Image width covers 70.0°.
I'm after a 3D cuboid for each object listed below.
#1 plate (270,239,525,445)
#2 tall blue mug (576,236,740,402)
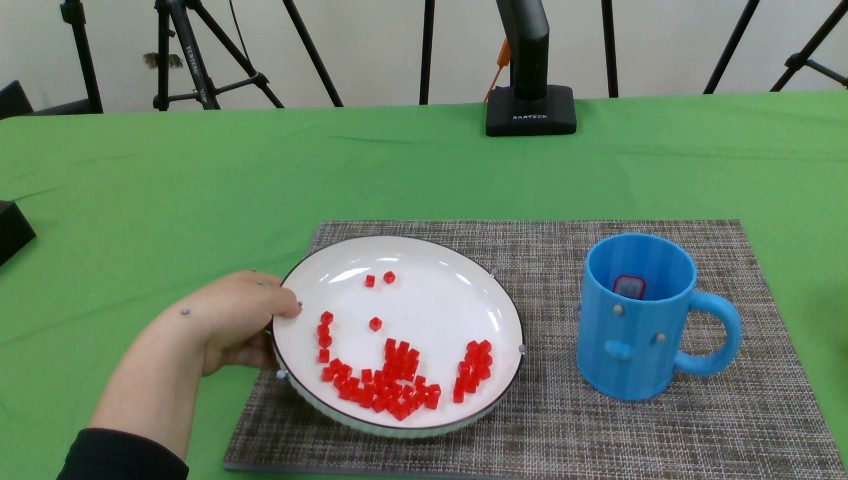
[{"bbox_3d":[-0.021,0.080,0.502,0.208,0.039,0.205,8,40,-6],"label":"plate"},{"bbox_3d":[0.175,0.062,0.467,0.107,0.109,0.077,-4,38,4],"label":"tall blue mug"}]
